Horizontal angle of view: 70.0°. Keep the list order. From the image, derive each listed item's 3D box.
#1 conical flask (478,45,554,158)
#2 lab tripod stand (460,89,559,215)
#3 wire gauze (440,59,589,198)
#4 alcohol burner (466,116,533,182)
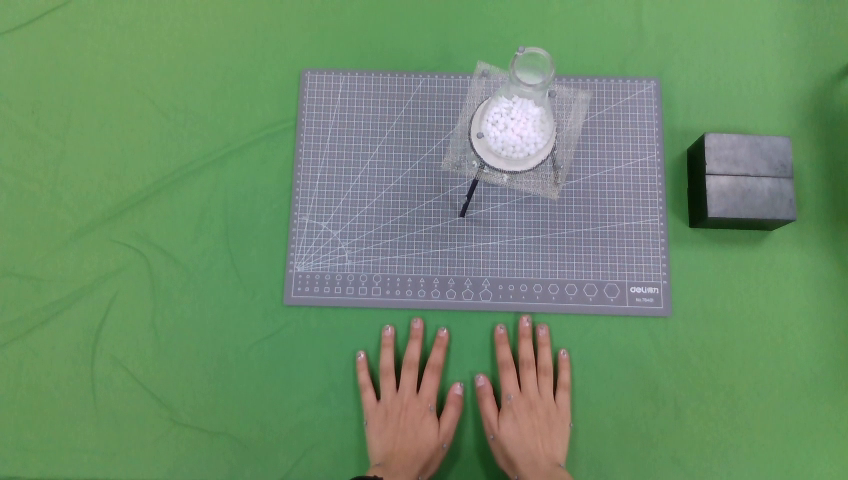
[{"bbox_3d":[0.090,-0.128,0.550,0.075,0.122,0.075,0,77,1],"label":"conical flask"},{"bbox_3d":[0.087,-0.101,0.671,0.148,0.132,0.147,0,77,2],"label":"lab tripod stand"},{"bbox_3d":[0.092,-0.112,0.606,0.121,0.011,0.124,19,77,3],"label":"wire gauze"},{"bbox_3d":[0.086,-0.109,0.683,0.078,0.119,0.077,0,79,2],"label":"alcohol burner"}]
